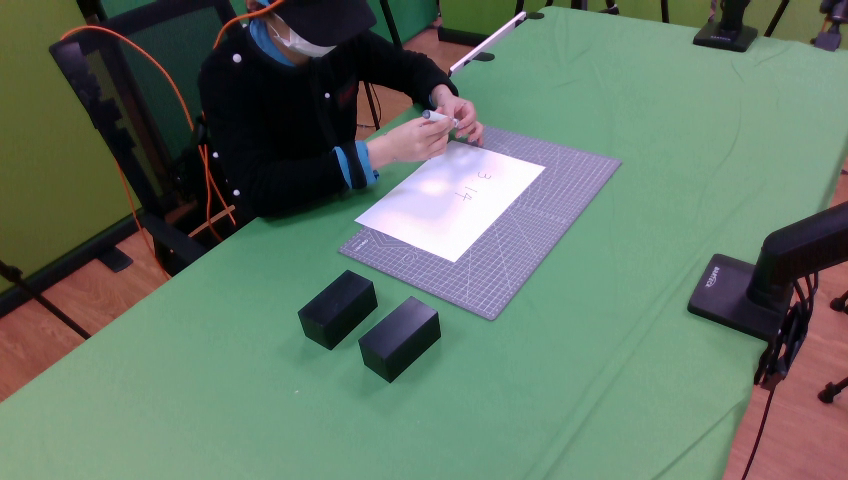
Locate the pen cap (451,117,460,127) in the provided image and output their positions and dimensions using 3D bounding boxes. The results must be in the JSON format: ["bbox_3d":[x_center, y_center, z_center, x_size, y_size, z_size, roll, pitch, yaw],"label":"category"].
[{"bbox_3d":[0.055,-0.217,1.111,0.017,0.017,0.039,13,9,23],"label":"pen cap"}]

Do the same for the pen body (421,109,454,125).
[{"bbox_3d":[0.029,-0.212,1.053,0.017,0.017,0.145,12,9,22],"label":"pen body"}]
